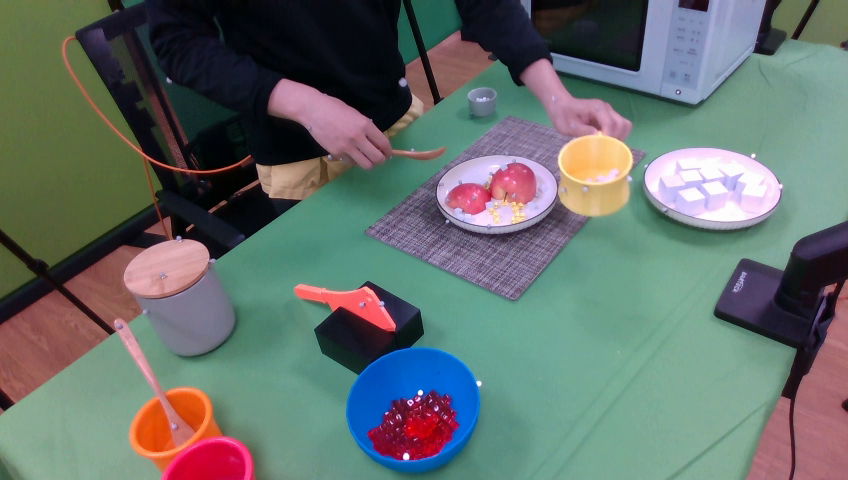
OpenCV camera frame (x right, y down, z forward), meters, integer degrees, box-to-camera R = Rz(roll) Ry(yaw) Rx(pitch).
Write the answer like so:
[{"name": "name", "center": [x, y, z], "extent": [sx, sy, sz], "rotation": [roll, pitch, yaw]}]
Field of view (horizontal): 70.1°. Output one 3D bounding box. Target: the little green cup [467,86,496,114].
[{"name": "little green cup", "center": [0.123, -0.297, 1.285], "extent": [0.061, 0.039, 0.061], "rotation": [-5, 41, 5]}]

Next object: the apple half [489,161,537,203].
[{"name": "apple half", "center": [0.154, -0.106, 1.030], "extent": [0.080, 0.053, 0.075], "rotation": [22, 46, 30]}]

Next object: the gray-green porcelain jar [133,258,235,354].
[{"name": "gray-green porcelain jar", "center": [-0.327, 0.086, 0.836], "extent": [0.106, 0.127, 0.105], "rotation": [-4, 41, 4]}]

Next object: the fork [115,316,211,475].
[{"name": "fork", "center": [-0.308, 0.179, 0.708], "extent": [0.028, 0.018, 0.207], "rotation": [-30, 89, -22]}]

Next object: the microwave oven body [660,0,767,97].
[{"name": "microwave oven body", "center": [0.474, -0.517, 1.314], "extent": [0.438, 0.261, 0.327], "rotation": [26, 51, 34]}]

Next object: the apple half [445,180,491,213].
[{"name": "apple half", "center": [0.076, -0.083, 1.029], "extent": [0.081, 0.033, 0.081], "rotation": [-2, 43, 2]}]

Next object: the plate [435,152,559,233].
[{"name": "plate", "center": [0.124, -0.078, 1.026], "extent": [0.209, 0.038, 0.208], "rotation": [-4, 40, 4]}]

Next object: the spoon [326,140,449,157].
[{"name": "spoon", "center": [-0.055, -0.142, 0.937], "extent": [0.194, 0.021, 0.041], "rotation": [-4, 21, -14]}]

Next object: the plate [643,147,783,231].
[{"name": "plate", "center": [0.464, -0.080, 0.985], "extent": [0.207, 0.039, 0.206], "rotation": [-4, 41, 4]}]

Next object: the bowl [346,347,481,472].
[{"name": "bowl", "center": [-0.008, 0.205, 0.691], "extent": [0.151, 0.077, 0.150], "rotation": [-4, 40, 4]}]

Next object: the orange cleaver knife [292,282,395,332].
[{"name": "orange cleaver knife", "center": [-0.116, 0.091, 0.835], "extent": [0.209, 0.077, 0.012], "rotation": [2, 32, 48]}]

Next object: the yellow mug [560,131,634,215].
[{"name": "yellow mug", "center": [0.248, -0.105, 0.867], "extent": [0.099, 0.064, 0.130], "rotation": [6, 51, 17]}]

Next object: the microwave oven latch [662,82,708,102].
[{"name": "microwave oven latch", "center": [0.517, -0.298, 1.203], "extent": [0.078, 0.029, 0.030], "rotation": [27, 52, 34]}]

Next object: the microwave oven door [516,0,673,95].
[{"name": "microwave oven door", "center": [0.344, -0.458, 1.256], "extent": [0.353, 0.245, 0.039], "rotation": [26, 51, 33]}]

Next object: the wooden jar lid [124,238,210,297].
[{"name": "wooden jar lid", "center": [-0.335, 0.039, 0.794], "extent": [0.108, 0.021, 0.108], "rotation": [-2, 40, 2]}]
